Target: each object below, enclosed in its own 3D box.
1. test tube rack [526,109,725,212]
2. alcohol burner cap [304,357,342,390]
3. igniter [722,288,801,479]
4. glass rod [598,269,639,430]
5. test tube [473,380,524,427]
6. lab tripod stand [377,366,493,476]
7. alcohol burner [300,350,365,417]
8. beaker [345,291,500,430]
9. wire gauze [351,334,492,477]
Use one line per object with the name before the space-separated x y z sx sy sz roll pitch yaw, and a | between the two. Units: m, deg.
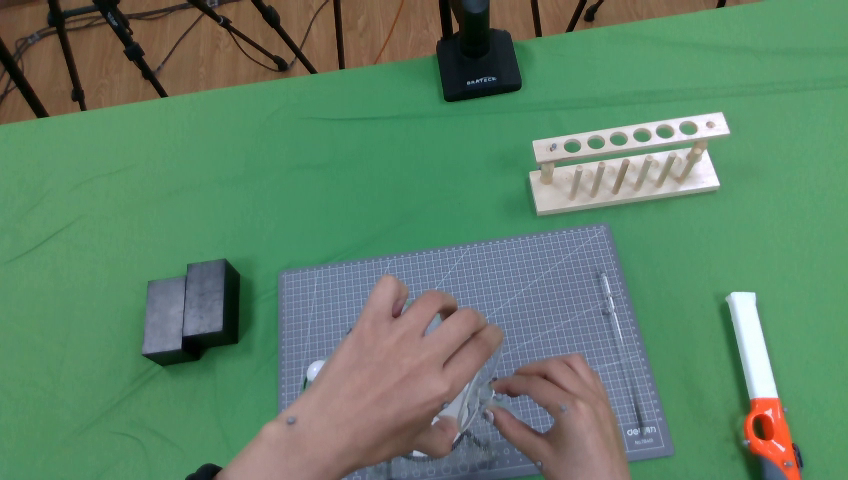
test tube rack | 0.263 -0.103 0.800 0.242 0.086 0.066 -8 63 2
alcohol burner cap | -0.112 0.144 0.659 0.034 0.048 0.033 -4 68 9
igniter | 0.379 0.184 0.680 0.057 0.025 0.274 3 64 -4
glass rod | 0.234 0.127 0.730 0.008 0.008 0.198 -7 66 2
test tube | 0.070 0.150 0.549 0.017 0.152 0.017 -9 62 17
lab tripod stand | 0.002 0.193 0.653 0.148 0.132 0.147 -3 63 7
alcohol burner | -0.108 0.159 0.692 0.078 0.120 0.077 -3 61 5
beaker | -0.002 0.088 0.464 0.100 0.084 0.074 23 77 18
wire gauze | -0.005 0.160 0.594 0.125 0.011 0.120 -11 62 0
